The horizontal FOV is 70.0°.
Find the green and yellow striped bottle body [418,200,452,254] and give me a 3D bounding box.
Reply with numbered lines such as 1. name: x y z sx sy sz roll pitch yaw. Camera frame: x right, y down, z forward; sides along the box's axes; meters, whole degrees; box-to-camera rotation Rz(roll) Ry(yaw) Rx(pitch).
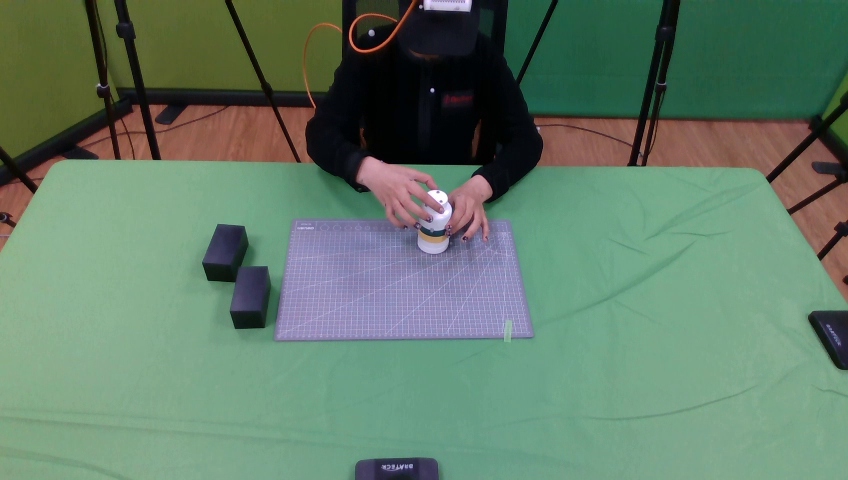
1. green and yellow striped bottle body: 0.021 -0.036 1.160 0.063 0.120 0.063 2 46 -2

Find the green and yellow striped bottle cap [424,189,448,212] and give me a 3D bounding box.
1. green and yellow striped bottle cap: 0.022 -0.073 1.121 0.045 0.020 0.045 3 45 -2
